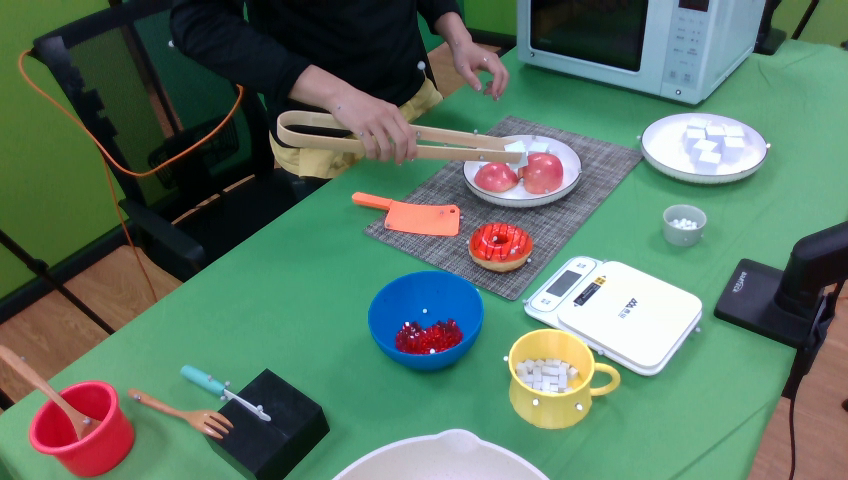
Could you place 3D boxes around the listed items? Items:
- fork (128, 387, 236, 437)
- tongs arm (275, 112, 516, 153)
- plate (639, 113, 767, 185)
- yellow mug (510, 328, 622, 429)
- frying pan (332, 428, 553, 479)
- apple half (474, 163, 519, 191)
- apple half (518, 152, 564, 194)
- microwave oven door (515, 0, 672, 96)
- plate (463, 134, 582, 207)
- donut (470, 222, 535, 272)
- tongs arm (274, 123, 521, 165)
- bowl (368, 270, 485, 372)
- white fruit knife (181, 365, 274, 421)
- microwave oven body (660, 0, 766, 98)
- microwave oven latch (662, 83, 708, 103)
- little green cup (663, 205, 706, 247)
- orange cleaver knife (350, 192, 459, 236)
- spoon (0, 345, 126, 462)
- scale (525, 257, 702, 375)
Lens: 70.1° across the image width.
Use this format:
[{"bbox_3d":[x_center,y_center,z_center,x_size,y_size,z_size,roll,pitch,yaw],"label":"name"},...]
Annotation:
[{"bbox_3d":[-0.305,0.207,0.744,0.206,0.019,0.028,3,41,36],"label":"fork"},{"bbox_3d":[-0.037,-0.162,0.958,0.386,0.026,0.050,7,48,-10],"label":"tongs arm"},{"bbox_3d":[0.489,-0.157,1.074,0.207,0.039,0.206,-4,40,4],"label":"plate"},{"bbox_3d":[0.169,0.164,0.721,0.130,0.064,0.099,0,40,8],"label":"yellow mug"},{"bbox_3d":[-0.089,0.306,0.564,0.487,0.103,0.306,10,41,7],"label":"frying pan"},{"bbox_3d":[0.130,-0.119,1.067,0.081,0.033,0.081,-3,36,3],"label":"apple half"},{"bbox_3d":[0.204,-0.124,1.048,0.075,0.053,0.080,-6,41,-3],"label":"apple half"},{"bbox_3d":[0.343,-0.454,1.259,0.353,0.245,0.039,26,51,33],"label":"microwave oven door"},{"bbox_3d":[0.173,-0.119,1.070,0.209,0.038,0.208,-4,40,4],"label":"plate"},{"bbox_3d":[0.119,0.009,0.923,0.099,0.048,0.098,-3,38,3],"label":"donut"},{"bbox_3d":[-0.034,-0.145,0.943,0.389,0.028,0.028,4,52,-13],"label":"tongs arm"},{"bbox_3d":[0.007,0.118,0.791,0.151,0.077,0.150,-4,40,4],"label":"bowl"},{"bbox_3d":[-0.245,0.187,0.747,0.205,0.027,0.016,9,41,40],"label":"white fruit knife"},{"bbox_3d":[0.472,-0.513,1.317,0.438,0.261,0.327,26,51,34],"label":"microwave oven body"},{"bbox_3d":[0.517,-0.296,1.204,0.078,0.029,0.030,27,52,35],"label":"microwave oven latch"},{"bbox_3d":[0.396,-0.020,0.926,0.061,0.039,0.061,-4,40,4],"label":"little green cup"},{"bbox_3d":[-0.036,-0.044,1.028,0.210,0.012,0.077,11,50,17],"label":"orange cleaver knife"},{"bbox_3d":[-0.434,0.192,0.720,0.194,0.021,0.042,47,53,-6],"label":"spoon"},{"bbox_3d":[0.254,0.091,0.821,0.199,0.032,0.149,28,51,35],"label":"scale"}]
